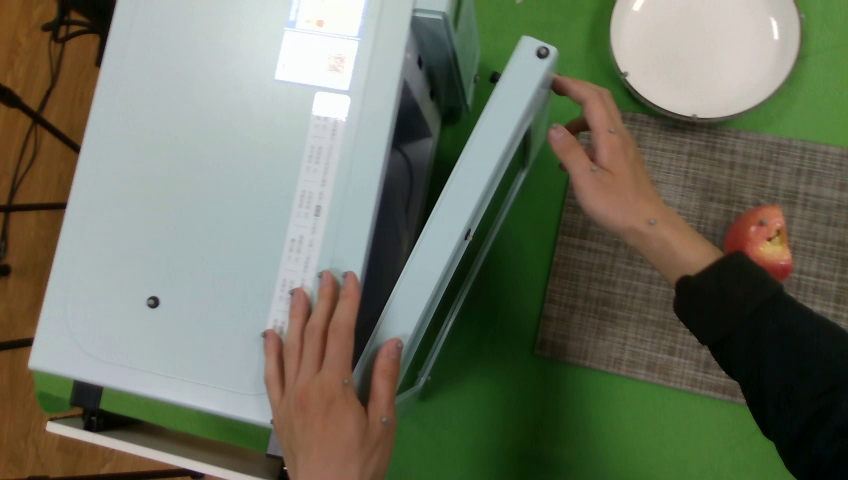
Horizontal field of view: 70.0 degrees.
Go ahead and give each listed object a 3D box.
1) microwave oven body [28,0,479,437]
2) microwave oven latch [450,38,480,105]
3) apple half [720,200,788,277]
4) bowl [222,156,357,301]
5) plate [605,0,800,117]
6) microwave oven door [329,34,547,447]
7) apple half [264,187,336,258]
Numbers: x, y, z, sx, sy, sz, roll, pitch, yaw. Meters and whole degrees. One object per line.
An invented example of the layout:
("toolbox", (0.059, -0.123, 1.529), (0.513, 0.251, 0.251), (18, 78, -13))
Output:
("microwave oven body", (-0.146, -0.068, 0.627), (0.325, 0.261, 0.441), (11, 86, 9))
("microwave oven latch", (0.047, -0.202, 0.713), (0.030, 0.029, 0.079), (11, 86, 9))
("apple half", (0.344, 0.001, 0.644), (0.053, 0.075, 0.080), (-8, 86, 11))
("bowl", (-0.133, -0.012, 0.660), (0.151, 0.077, 0.151), (0, 92, 17))
("plate", (0.314, -0.239, 0.698), (0.207, 0.039, 0.207), (-1, 84, 8))
("microwave oven door", (0.027, 0.011, 0.589), (0.039, 0.245, 0.355), (25, 87, 11))
("apple half", (-0.134, -0.017, 0.649), (0.081, 0.032, 0.081), (0, 96, 2))
